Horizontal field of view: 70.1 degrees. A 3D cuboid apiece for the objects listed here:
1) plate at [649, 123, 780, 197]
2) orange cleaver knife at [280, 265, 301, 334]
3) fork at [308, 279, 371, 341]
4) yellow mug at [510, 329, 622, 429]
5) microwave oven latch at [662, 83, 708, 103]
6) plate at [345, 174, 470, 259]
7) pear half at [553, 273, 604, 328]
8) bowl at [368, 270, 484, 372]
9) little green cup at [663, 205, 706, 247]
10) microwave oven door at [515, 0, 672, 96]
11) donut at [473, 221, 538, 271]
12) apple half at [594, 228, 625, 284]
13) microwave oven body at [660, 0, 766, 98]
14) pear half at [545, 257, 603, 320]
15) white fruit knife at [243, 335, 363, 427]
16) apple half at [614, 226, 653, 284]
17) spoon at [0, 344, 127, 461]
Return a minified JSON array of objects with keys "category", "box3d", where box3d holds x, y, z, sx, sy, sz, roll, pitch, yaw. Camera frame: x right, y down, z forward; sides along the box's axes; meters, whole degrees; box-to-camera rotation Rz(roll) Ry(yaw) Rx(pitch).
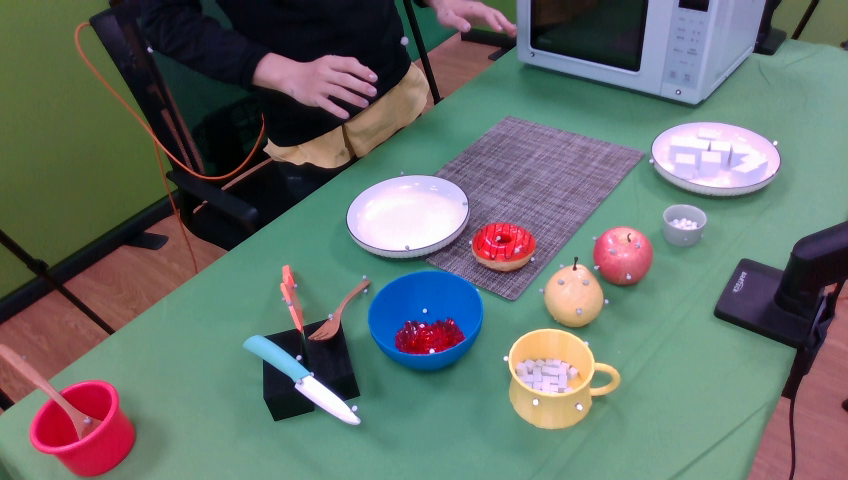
[{"category":"plate","box3d":[0.497,-0.135,1.046,0.207,0.039,0.206,-4,40,4]},{"category":"orange cleaver knife","box3d":[-0.188,0.081,0.862,0.012,0.077,0.210,-19,12,-9]},{"category":"fork","box3d":[-0.109,0.093,0.832,0.028,0.018,0.207,-4,19,15]},{"category":"yellow mug","box3d":[0.168,0.164,0.722,0.130,0.064,0.099,0,40,8]},{"category":"microwave oven latch","box3d":[0.517,-0.296,1.204,0.078,0.029,0.030,27,52,35]},{"category":"plate","box3d":[-0.026,-0.036,1.004,0.209,0.038,0.208,-4,40,4]},{"category":"pear half","box3d":[0.208,0.085,0.791,0.071,0.088,0.031,-14,39,-15]},{"category":"bowl","box3d":[0.006,0.118,0.792,0.151,0.077,0.150,-5,40,4]},{"category":"little green cup","box3d":[0.396,-0.021,0.926,0.061,0.039,0.061,-4,40,4]},{"category":"microwave oven door","box3d":[0.343,-0.455,1.259,0.353,0.245,0.039,26,51,33]},{"category":"donut","box3d":[0.123,0.008,0.923,0.099,0.048,0.098,-4,38,3]},{"category":"apple half","box3d":[0.259,0.026,0.864,0.033,0.081,0.081,-3,40,0]},{"category":"microwave oven body","box3d":[0.472,-0.513,1.317,0.438,0.261,0.327,26,51,34]},{"category":"pear half","box3d":[0.197,0.056,0.811,0.076,0.110,0.055,-14,41,-13]},{"category":"white fruit knife","box3d":[-0.148,0.167,0.729,0.206,0.016,0.027,27,80,31]},{"category":"apple half","box3d":[0.298,0.023,0.864,0.053,0.075,0.080,-3,37,1]},{"category":"spoon","box3d":[-0.433,0.191,0.721,0.194,0.021,0.042,47,54,-6]}]
